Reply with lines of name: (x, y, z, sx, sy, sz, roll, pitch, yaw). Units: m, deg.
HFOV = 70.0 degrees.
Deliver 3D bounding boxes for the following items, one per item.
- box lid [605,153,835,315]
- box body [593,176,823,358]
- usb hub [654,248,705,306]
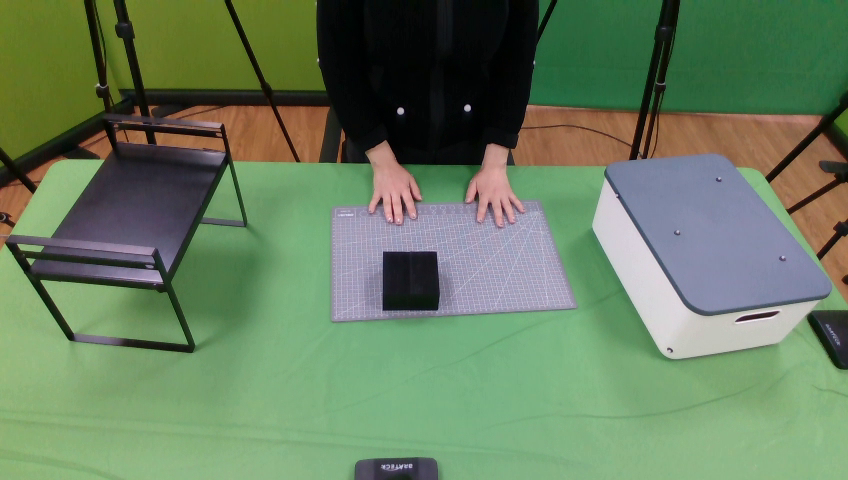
box lid: (0.499, -0.030, 1.061, 0.264, 0.015, 0.369, -6, 47, -10)
box body: (0.497, 0.023, 1.112, 0.254, 0.161, 0.361, -7, 47, -10)
usb hub: (0.482, 0.069, 1.150, 0.049, 0.025, 0.124, -1, 48, -8)
